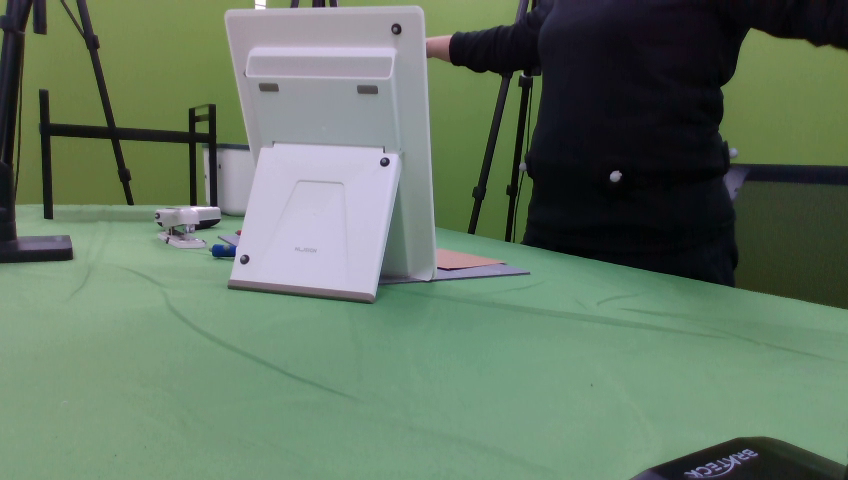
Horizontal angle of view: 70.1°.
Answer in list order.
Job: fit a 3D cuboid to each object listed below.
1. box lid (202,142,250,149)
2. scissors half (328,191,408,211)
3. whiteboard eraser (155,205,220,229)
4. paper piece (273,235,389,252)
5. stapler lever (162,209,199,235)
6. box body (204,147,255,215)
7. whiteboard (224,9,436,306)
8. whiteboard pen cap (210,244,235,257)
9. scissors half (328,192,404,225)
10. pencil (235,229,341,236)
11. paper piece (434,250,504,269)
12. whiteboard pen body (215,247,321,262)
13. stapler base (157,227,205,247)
[{"bbox_3d":[-0.344,-0.225,1.509,0.373,0.015,0.262,-2,8,-31],"label":"box lid"},{"bbox_3d":[-0.123,-0.091,1.318,0.175,0.040,0.013,6,9,-4],"label":"scissors half"},{"bbox_3d":[-0.428,-0.041,1.100,0.055,0.042,0.113,7,8,19],"label":"whiteboard eraser"},{"bbox_3d":[-0.151,0.003,0.978,0.135,0.008,0.139,13,10,35],"label":"paper piece"},{"bbox_3d":[-0.376,-0.031,0.933,0.027,0.040,0.117,1,7,-38],"label":"stapler lever"},{"bbox_3d":[-0.346,-0.152,1.519,0.366,0.160,0.253,-2,9,-31],"label":"box body"},{"bbox_3d":[-0.117,-0.065,0.617,0.217,0.305,0.144,5,29,16],"label":"whiteboard"},{"bbox_3d":[-0.266,0.015,0.806,0.033,0.018,0.018,3,7,-1],"label":"whiteboard pen cap"},{"bbox_3d":[-0.127,-0.072,1.321,0.175,0.040,0.013,22,2,-5],"label":"scissors half"},{"bbox_3d":[-0.232,-0.012,1.053,0.195,0.012,0.012,0,8,-36],"label":"pencil"},{"bbox_3d":[0.025,0.026,0.865,0.134,0.004,0.136,9,9,43],"label":"paper piece"},{"bbox_3d":[-0.208,0.018,0.805,0.141,0.017,0.017,2,7,1],"label":"whiteboard pen body"},{"bbox_3d":[-0.376,-0.007,0.935,0.041,0.024,0.130,1,5,-38],"label":"stapler base"}]
